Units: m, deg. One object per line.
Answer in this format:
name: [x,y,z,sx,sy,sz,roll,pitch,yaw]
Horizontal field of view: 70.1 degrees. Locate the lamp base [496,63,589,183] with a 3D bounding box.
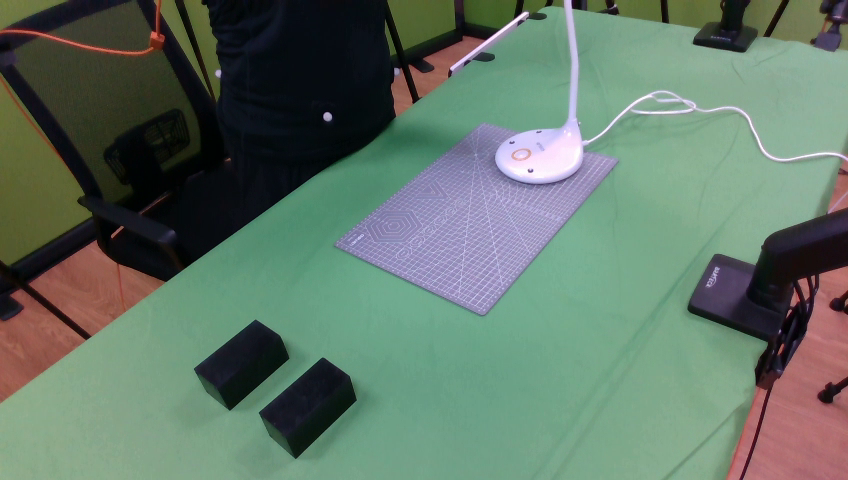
lamp base: [0.216,-0.217,1.066,0.180,0.181,0.159,-19,42,-18]
